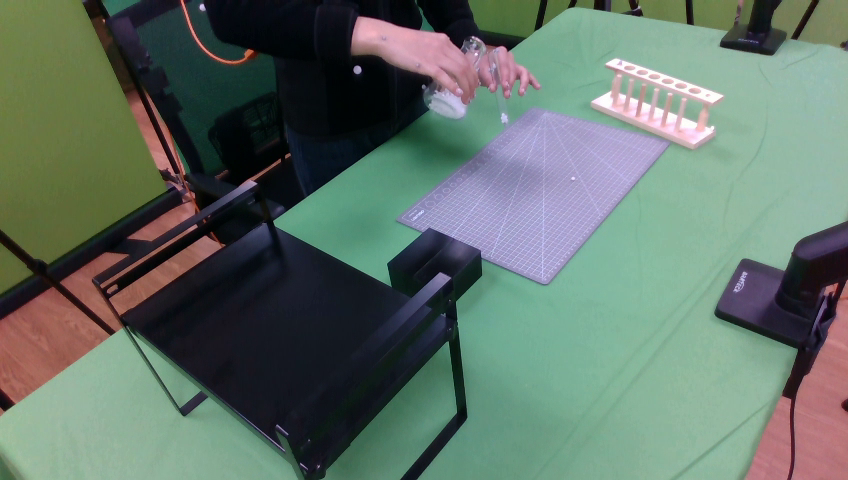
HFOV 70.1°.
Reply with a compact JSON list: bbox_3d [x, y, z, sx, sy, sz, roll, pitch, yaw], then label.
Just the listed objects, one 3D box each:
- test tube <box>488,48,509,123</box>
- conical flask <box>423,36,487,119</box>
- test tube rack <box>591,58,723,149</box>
[{"bbox_3d":[0.128,-0.259,1.030,0.017,0.151,0.017,-9,50,11],"label":"test tube"},{"bbox_3d":[0.055,-0.256,0.937,0.075,0.076,0.122,22,80,30],"label":"conical flask"},{"bbox_3d":[0.442,-0.269,1.171,0.067,0.085,0.240,-30,46,-24],"label":"test tube rack"}]
